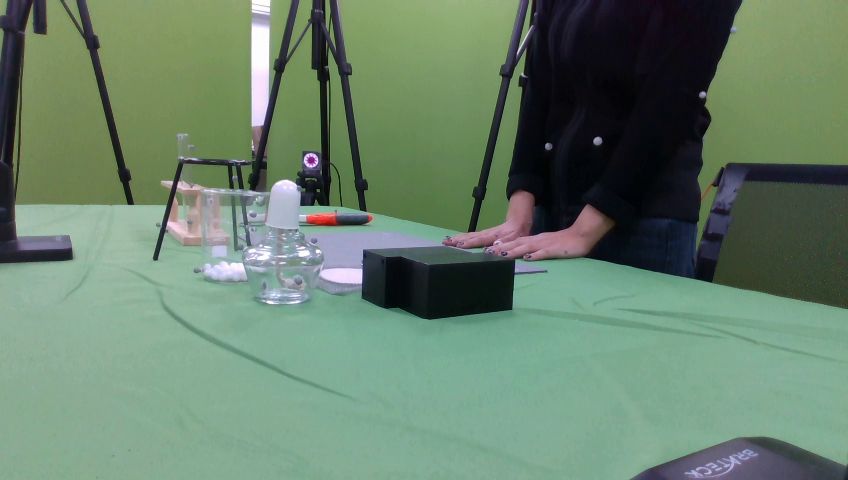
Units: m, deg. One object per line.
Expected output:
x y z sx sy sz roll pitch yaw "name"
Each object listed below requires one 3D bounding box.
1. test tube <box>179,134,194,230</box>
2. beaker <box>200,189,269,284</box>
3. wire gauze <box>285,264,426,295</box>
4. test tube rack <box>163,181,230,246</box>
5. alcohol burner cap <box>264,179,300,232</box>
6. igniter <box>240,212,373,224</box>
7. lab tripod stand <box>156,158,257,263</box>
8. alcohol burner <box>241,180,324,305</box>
-0.366 -0.089 0.938 0.017 0.150 0.017 -1 9 1 "test tube"
-0.209 -0.006 0.676 0.073 0.100 0.084 7 8 28 "beaker"
-0.079 0.039 0.692 0.122 0.011 0.124 -4 11 -37 "wire gauze"
-0.387 -0.050 1.015 0.067 0.085 0.241 -2 9 -30 "test tube rack"
-0.134 -0.034 0.579 0.034 0.048 0.034 9 10 -1 "alcohol burner cap"
-0.237 -0.045 1.250 0.278 0.025 0.057 -2 -2 -31 "igniter"
-0.275 -0.041 0.797 0.148 0.131 0.148 2 9 0 "lab tripod stand"
-0.136 0.002 0.583 0.078 0.119 0.078 1 8 0 "alcohol burner"
